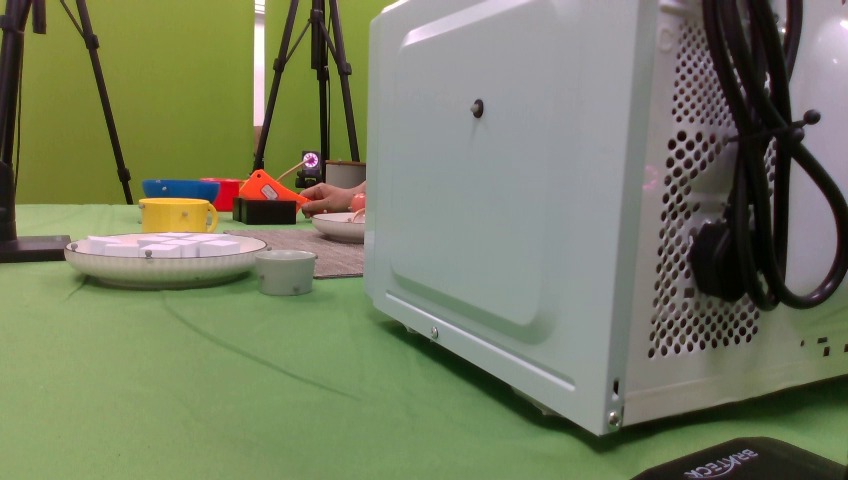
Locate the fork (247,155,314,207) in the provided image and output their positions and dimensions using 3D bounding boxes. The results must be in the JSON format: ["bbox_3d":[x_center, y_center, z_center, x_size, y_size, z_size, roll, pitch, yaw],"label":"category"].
[{"bbox_3d":[-0.360,-0.147,1.522,0.207,0.018,0.028,-43,7,-7],"label":"fork"}]

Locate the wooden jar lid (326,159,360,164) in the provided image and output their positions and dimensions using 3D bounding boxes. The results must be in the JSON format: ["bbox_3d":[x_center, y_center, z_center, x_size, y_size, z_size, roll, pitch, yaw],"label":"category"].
[{"bbox_3d":[-0.185,-0.187,1.481,0.108,0.020,0.108,4,6,0],"label":"wooden jar lid"}]

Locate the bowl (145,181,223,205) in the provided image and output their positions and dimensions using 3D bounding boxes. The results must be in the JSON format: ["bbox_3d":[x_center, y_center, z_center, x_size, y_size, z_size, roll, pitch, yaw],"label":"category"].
[{"bbox_3d":[-0.499,-0.081,1.261,0.151,0.077,0.151,2,8,0],"label":"bowl"}]

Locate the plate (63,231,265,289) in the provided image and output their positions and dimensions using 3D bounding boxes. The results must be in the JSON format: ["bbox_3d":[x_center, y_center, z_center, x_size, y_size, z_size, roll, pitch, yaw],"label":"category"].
[{"bbox_3d":[-0.288,0.021,0.687,0.208,0.039,0.207,2,8,0],"label":"plate"}]

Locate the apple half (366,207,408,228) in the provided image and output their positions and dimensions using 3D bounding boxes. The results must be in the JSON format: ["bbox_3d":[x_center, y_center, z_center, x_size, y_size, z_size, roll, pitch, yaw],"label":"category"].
[{"bbox_3d":[-0.067,-0.045,1.106,0.081,0.033,0.081,-12,-1,0],"label":"apple half"}]

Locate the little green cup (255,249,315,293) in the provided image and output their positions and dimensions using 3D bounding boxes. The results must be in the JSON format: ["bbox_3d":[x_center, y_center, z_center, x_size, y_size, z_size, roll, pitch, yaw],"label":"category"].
[{"bbox_3d":[-0.144,0.032,0.627,0.061,0.038,0.061,2,5,0],"label":"little green cup"}]

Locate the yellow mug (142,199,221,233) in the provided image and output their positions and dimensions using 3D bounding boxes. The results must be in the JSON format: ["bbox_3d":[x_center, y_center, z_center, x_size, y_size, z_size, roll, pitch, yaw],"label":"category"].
[{"bbox_3d":[-0.373,-0.030,0.948,0.099,0.064,0.131,6,8,30],"label":"yellow mug"}]

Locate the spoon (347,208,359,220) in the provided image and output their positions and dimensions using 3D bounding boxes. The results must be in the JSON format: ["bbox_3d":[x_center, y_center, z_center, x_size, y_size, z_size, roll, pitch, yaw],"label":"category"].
[{"bbox_3d":[-0.123,-0.047,1.117,0.041,0.021,0.194,-8,17,18],"label":"spoon"}]

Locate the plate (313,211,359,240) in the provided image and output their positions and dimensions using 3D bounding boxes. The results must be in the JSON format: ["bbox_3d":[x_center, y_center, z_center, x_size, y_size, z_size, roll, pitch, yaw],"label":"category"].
[{"bbox_3d":[-0.091,-0.026,1.063,0.209,0.038,0.209,2,7,0],"label":"plate"}]

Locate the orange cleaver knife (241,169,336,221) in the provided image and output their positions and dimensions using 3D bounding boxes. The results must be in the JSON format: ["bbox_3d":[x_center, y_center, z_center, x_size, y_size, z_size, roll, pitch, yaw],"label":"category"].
[{"bbox_3d":[-0.288,-0.082,1.301,0.212,0.077,0.012,25,-7,-32],"label":"orange cleaver knife"}]

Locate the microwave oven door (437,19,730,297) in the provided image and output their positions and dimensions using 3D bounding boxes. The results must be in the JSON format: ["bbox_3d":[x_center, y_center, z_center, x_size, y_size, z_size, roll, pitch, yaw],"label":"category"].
[{"bbox_3d":[0.180,-0.076,0.618,0.358,0.243,0.039,-2,9,-28],"label":"microwave oven door"}]

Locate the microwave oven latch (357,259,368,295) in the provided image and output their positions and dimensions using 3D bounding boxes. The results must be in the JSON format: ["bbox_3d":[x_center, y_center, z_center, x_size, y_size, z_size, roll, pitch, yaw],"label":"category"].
[{"bbox_3d":[-0.019,0.031,0.529,0.079,0.029,0.030,-1,7,-26],"label":"microwave oven latch"}]

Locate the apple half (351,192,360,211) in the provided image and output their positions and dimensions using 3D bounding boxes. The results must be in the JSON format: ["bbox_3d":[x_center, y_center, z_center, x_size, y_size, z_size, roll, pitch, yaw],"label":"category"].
[{"bbox_3d":[-0.105,-0.065,1.260,0.081,0.074,0.053,2,10,-34],"label":"apple half"}]

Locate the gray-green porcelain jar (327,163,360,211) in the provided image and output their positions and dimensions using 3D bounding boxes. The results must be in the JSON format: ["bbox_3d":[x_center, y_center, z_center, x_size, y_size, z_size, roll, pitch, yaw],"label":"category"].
[{"bbox_3d":[-0.187,-0.125,1.490,0.106,0.126,0.106,2,7,0],"label":"gray-green porcelain jar"}]

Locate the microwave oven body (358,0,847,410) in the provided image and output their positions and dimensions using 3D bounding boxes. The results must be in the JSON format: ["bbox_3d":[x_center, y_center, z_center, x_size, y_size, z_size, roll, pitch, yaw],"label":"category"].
[{"bbox_3d":[0.210,-0.051,0.471,0.444,0.260,0.324,-1,7,-28],"label":"microwave oven body"}]
